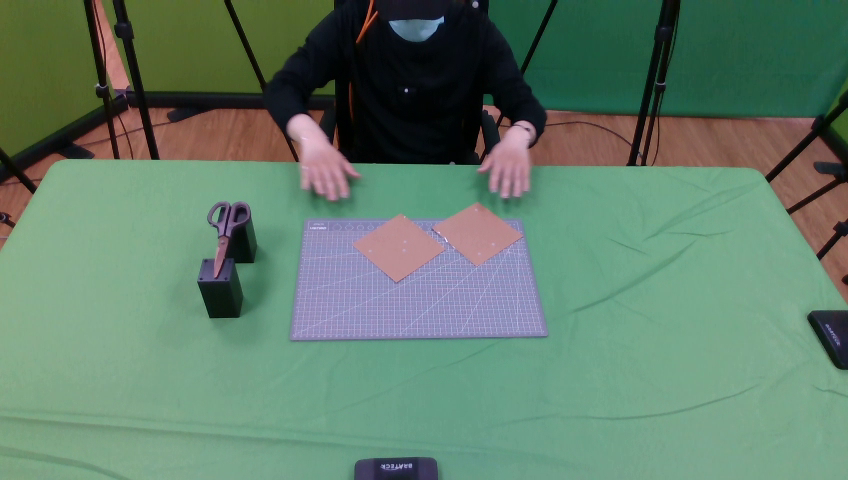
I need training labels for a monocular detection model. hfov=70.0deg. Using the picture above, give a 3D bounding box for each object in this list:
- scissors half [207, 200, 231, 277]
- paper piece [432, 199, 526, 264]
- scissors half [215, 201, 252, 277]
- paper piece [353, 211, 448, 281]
[{"bbox_3d":[-0.352,-0.005,1.043,0.040,0.013,0.174,-4,49,-15],"label":"scissors half"},{"bbox_3d":[0.111,-0.021,1.227,0.138,0.009,0.135,-29,58,-29],"label":"paper piece"},{"bbox_3d":[-0.332,-0.005,1.046,0.040,0.013,0.174,6,48,1],"label":"scissors half"},{"bbox_3d":[-0.047,0.008,1.188,0.135,0.004,0.134,-34,57,-30],"label":"paper piece"}]
